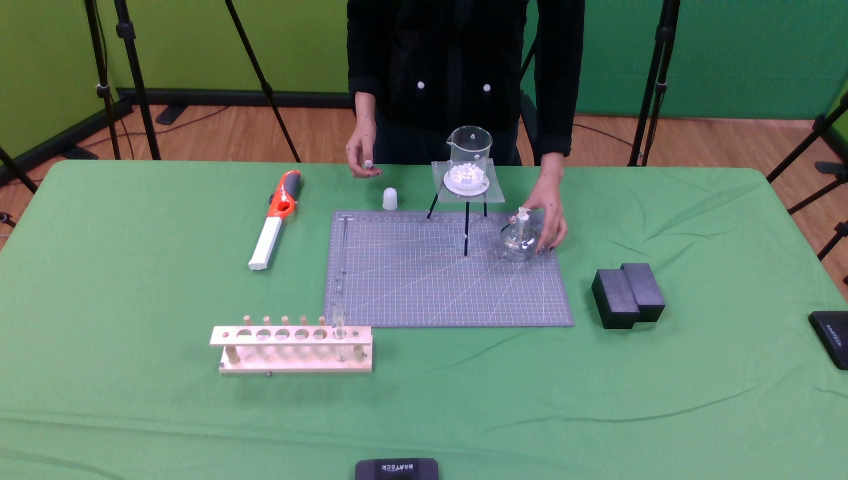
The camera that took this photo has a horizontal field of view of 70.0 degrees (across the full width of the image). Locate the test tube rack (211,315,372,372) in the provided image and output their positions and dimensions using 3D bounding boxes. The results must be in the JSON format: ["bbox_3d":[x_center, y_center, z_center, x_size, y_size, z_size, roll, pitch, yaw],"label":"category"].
[{"bbox_3d":[-0.208,0.164,0.982,0.242,0.085,0.066,1,46,-4],"label":"test tube rack"}]

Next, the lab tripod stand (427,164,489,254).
[{"bbox_3d":[0.078,-0.068,1.188,0.148,0.132,0.147,3,47,-3],"label":"lab tripod stand"}]

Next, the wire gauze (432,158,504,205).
[{"bbox_3d":[0.081,-0.111,1.138,0.125,0.011,0.120,0,48,-7],"label":"wire gauze"}]

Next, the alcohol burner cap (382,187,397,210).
[{"bbox_3d":[-0.072,-0.090,1.266,0.034,0.048,0.033,3,47,-3],"label":"alcohol burner cap"}]

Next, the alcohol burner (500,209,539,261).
[{"bbox_3d":[0.185,-0.016,1.159,0.078,0.120,0.077,2,48,-2],"label":"alcohol burner"}]

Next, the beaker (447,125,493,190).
[{"bbox_3d":[0.079,-0.148,1.106,0.084,0.101,0.073,-3,47,-7],"label":"beaker"}]

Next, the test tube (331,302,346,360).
[{"bbox_3d":[-0.132,0.144,0.938,0.017,0.151,0.017,2,49,-3],"label":"test tube"}]

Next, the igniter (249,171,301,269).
[{"bbox_3d":[-0.297,-0.049,1.220,0.057,0.025,0.275,-1,45,9],"label":"igniter"}]

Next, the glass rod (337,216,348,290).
[{"bbox_3d":[-0.158,0.021,1.171,0.008,0.008,0.198,1,43,-2],"label":"glass rod"}]
